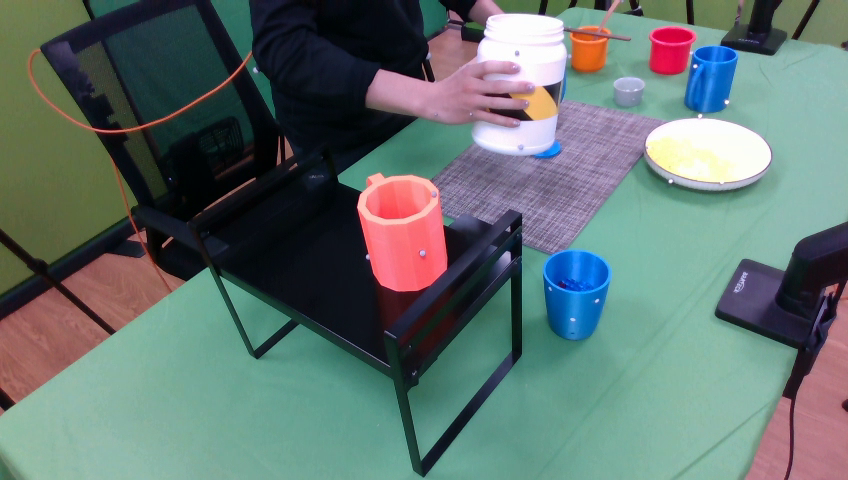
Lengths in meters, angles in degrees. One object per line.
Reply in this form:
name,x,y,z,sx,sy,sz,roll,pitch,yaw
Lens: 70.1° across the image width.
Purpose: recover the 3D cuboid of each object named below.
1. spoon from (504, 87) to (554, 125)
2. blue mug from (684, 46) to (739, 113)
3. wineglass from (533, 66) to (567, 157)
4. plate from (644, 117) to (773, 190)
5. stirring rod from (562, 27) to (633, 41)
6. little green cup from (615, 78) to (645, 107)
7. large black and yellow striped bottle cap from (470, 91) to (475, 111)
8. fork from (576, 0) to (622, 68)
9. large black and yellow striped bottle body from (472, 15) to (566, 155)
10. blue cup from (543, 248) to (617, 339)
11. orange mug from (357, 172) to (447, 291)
spoon,0.227,-0.285,1.269,0.041,0.022,0.194,2,36,44
blue mug,0.556,-0.310,1.190,0.117,0.106,0.081,-32,46,-25
wineglass,0.222,-0.241,1.102,0.074,0.173,0.073,-5,41,5
plate,0.495,-0.149,1.063,0.209,0.038,0.208,-5,40,4
stirring rod,0.381,-0.463,1.356,0.175,0.006,0.014,21,47,30
little green cup,0.426,-0.306,1.257,0.061,0.039,0.061,-4,40,4
large black and yellow striped bottle cap,0.156,-0.308,1.317,0.115,0.019,0.114,-7,39,6
fork,0.409,-0.484,1.381,0.028,0.019,0.207,37,101,45
large black and yellow striped bottle body,0.143,-0.235,0.913,0.131,0.184,0.130,1,30,0
blue cup,0.199,0.076,0.797,0.092,0.100,0.092,-4,39,4
orange mug,-0.030,-0.018,0.669,0.084,0.101,0.125,-23,47,-16
